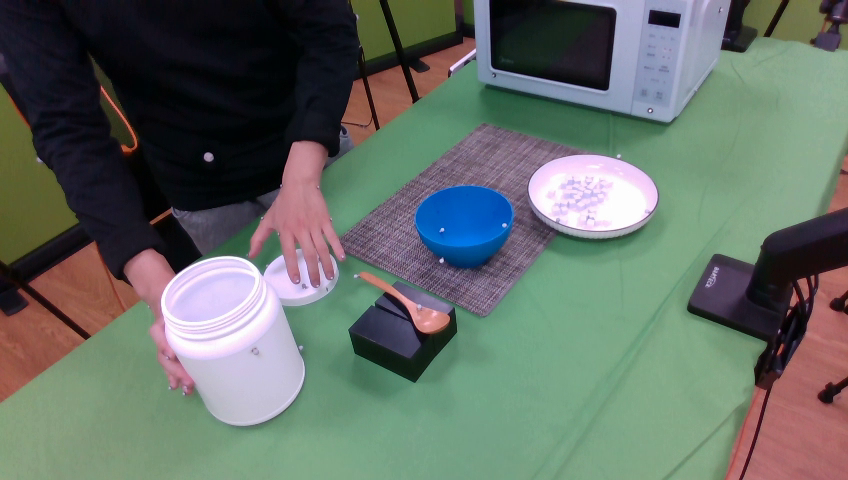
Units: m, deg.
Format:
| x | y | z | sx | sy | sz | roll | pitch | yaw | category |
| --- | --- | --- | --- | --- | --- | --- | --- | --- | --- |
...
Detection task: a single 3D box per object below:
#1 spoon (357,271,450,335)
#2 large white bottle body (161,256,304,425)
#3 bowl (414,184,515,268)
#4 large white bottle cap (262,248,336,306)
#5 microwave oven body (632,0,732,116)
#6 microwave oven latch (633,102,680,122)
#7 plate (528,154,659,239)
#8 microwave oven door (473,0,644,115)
| x | y | z | sx | sy | sz | roll | pitch | yaw | category |
| --- | --- | --- | --- | --- | --- | --- | --- | --- | --- |
| -0.034 | 0.078 | 0.812 | 0.042 | 0.022 | 0.192 | -36 | 43 | -23 | spoon |
| -0.229 | 0.121 | 0.732 | 0.130 | 0.185 | 0.130 | -4 | 41 | 4 | large white bottle body |
| 0.063 | -0.011 | 0.922 | 0.151 | 0.077 | 0.150 | -4 | 40 | 4 | bowl |
| -0.193 | 0.056 | 0.933 | 0.115 | 0.018 | 0.114 | -4 | 40 | 4 | large white bottle cap |
| 0.377 | -0.462 | 1.267 | 0.438 | 0.261 | 0.327 | 21 | 48 | 30 | microwave oven body |
| 0.444 | -0.249 | 1.157 | 0.078 | 0.029 | 0.030 | 21 | 49 | 30 | microwave oven latch |
| 0.274 | -0.069 | 0.993 | 0.209 | 0.038 | 0.208 | -2 | 42 | 2 | plate |
| 0.257 | -0.396 | 1.199 | 0.353 | 0.245 | 0.039 | 21 | 48 | 29 | microwave oven door |
